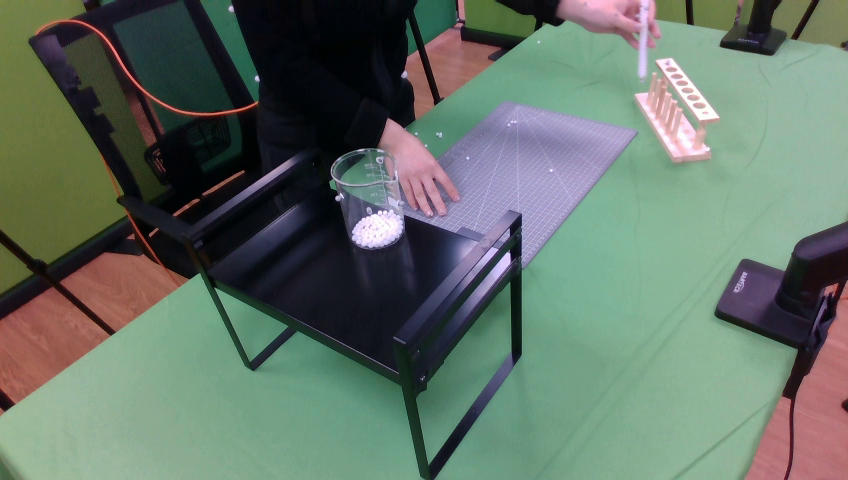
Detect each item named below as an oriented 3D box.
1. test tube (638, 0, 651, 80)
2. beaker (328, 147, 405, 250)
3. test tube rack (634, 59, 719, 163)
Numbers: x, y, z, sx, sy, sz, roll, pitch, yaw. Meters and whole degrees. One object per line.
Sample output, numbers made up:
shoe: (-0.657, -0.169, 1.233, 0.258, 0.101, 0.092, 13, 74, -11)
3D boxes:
test tube: (0.383, -0.349, 1.051, 0.017, 0.151, 0.017, -8, 38, 7)
beaker: (-0.060, -0.045, 0.699, 0.083, 0.101, 0.074, 19, 47, 27)
test tube rack: (0.470, -0.250, 1.148, 0.067, 0.085, 0.241, -6, 40, 3)
